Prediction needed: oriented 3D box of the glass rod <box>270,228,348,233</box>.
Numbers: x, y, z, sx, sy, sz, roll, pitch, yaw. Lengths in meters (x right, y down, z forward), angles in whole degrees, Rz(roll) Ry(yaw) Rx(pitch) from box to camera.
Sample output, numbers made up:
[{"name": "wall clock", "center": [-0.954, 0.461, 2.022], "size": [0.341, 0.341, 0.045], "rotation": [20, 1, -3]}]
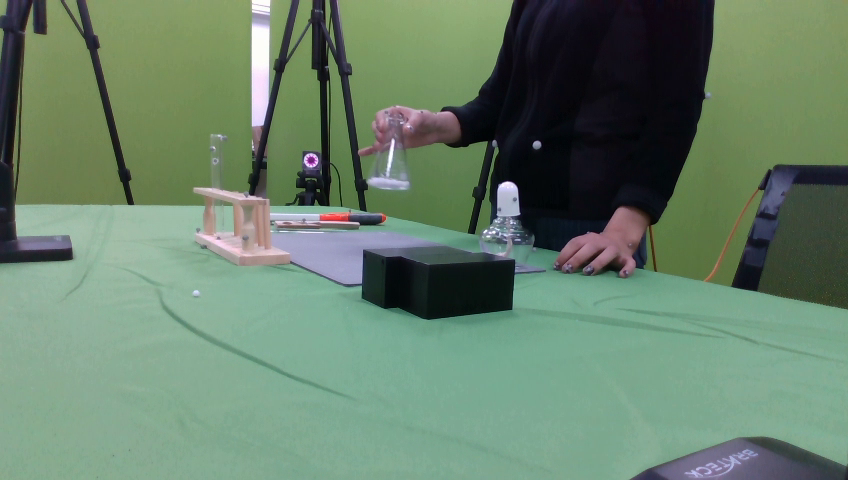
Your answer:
[{"name": "glass rod", "center": [-0.235, -0.017, 1.105], "size": [0.201, 0.008, 0.008], "rotation": [1, 7, -26]}]

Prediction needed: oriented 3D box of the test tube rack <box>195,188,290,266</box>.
[{"name": "test tube rack", "center": [-0.266, -0.025, 0.864], "size": [0.067, 0.085, 0.241], "rotation": [-2, 9, -33]}]

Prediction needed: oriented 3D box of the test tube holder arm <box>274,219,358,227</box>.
[{"name": "test tube holder arm", "center": [-0.206, -0.032, 1.177], "size": [0.179, 0.015, 0.013], "rotation": [-4, 46, -40]}]

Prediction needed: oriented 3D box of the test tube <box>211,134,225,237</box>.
[{"name": "test tube", "center": [-0.300, -0.079, 0.881], "size": [0.017, 0.150, 0.017], "rotation": [3, 11, 0]}]

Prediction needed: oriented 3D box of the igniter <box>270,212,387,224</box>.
[{"name": "igniter", "center": [-0.213, -0.048, 1.278], "size": [0.278, 0.025, 0.057], "rotation": [-1, -2, -25]}]

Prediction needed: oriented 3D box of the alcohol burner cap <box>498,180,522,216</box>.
[{"name": "alcohol burner cap", "center": [0.114, -0.056, 0.809], "size": [0.034, 0.048, 0.034], "rotation": [-5, 12, 1]}]

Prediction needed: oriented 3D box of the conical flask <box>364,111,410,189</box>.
[{"name": "conical flask", "center": [-0.055, -0.148, 0.994], "size": [0.075, 0.121, 0.075], "rotation": [7, -1, 0]}]

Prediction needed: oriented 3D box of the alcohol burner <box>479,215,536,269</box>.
[{"name": "alcohol burner", "center": [0.114, -0.021, 0.816], "size": [0.078, 0.119, 0.078], "rotation": [2, 9, 0]}]

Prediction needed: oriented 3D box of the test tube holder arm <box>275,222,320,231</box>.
[{"name": "test tube holder arm", "center": [-0.238, -0.026, 1.145], "size": [0.088, 0.015, 0.010], "rotation": [-3, 45, -39]}]
